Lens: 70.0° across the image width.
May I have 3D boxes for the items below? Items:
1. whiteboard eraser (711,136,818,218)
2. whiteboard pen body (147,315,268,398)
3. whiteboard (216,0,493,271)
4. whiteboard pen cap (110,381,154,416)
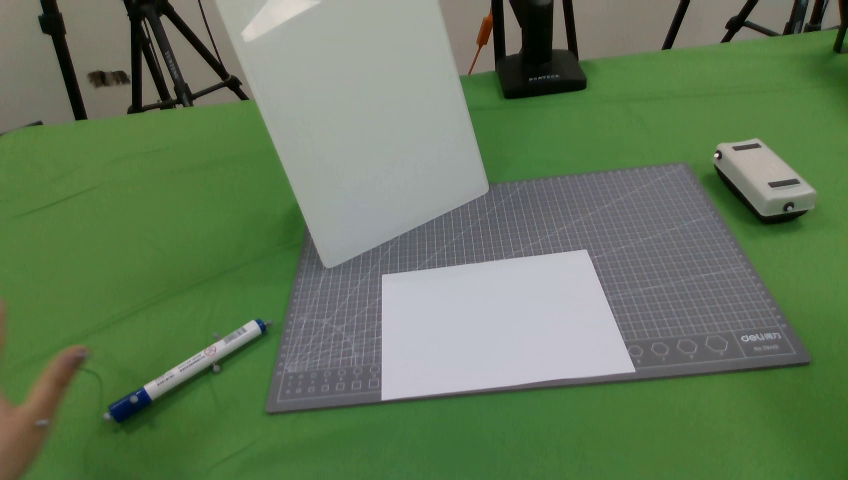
[{"bbox_3d":[0.357,-0.067,0.643,0.055,0.042,0.111,-11,40,0],"label":"whiteboard eraser"},{"bbox_3d":[-0.205,0.109,0.548,0.141,0.017,0.017,-32,45,-27],"label":"whiteboard pen body"},{"bbox_3d":[-0.084,-0.160,0.673,0.217,0.307,0.142,-26,22,-19],"label":"whiteboard"},{"bbox_3d":[-0.249,0.135,0.520,0.033,0.018,0.018,-33,45,-28],"label":"whiteboard pen cap"}]
